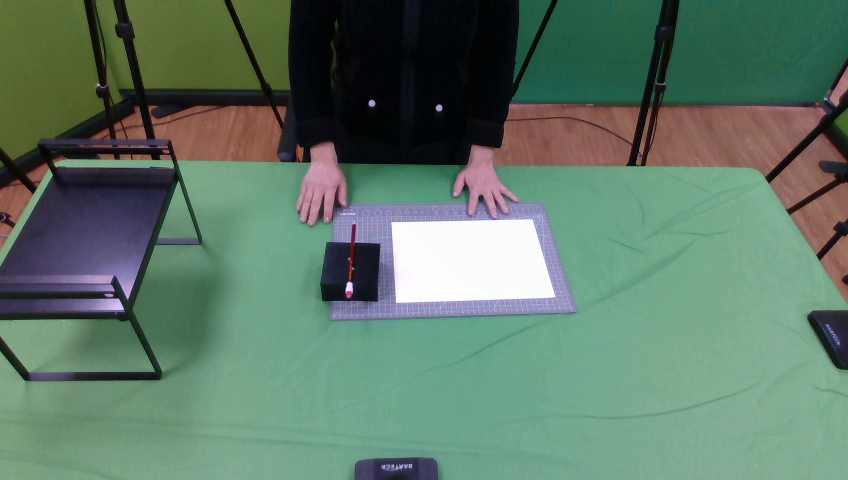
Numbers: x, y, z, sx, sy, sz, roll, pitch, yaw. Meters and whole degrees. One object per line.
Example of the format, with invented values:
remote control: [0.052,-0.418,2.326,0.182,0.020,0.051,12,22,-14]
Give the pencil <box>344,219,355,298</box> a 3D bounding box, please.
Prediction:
pencil: [-0.132,0.028,1.097,0.012,0.012,0.193,1,46,-3]
